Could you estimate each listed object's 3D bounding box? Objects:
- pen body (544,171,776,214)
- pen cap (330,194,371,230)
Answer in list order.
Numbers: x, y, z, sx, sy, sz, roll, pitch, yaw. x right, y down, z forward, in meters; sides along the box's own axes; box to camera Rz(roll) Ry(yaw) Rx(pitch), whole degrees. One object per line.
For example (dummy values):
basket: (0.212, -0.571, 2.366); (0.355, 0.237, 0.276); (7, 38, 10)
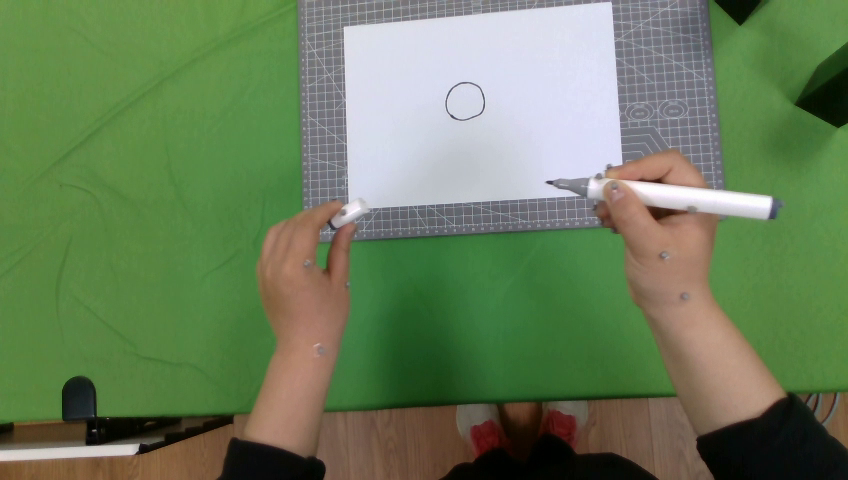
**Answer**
pen body: (0.150, -0.033, 0.401); (0.143, 0.017, 0.017); (9, 85, 22)
pen cap: (-0.064, -0.022, 0.524); (0.038, 0.017, 0.017); (-32, 81, 26)
